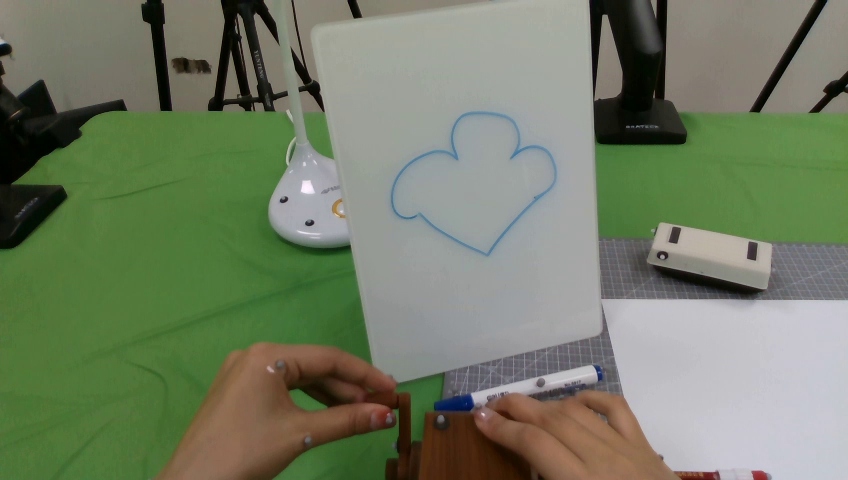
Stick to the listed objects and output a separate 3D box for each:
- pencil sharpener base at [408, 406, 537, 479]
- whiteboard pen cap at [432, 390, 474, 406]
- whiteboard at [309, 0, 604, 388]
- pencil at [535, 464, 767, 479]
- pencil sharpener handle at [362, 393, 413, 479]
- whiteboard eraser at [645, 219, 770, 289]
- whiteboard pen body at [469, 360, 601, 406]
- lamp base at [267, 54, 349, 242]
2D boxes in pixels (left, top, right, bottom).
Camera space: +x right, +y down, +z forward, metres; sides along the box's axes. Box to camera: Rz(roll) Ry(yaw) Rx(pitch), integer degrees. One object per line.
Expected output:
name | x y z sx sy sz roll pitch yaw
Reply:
pencil sharpener base | 0.031 0.164 0.399 0.076 0.108 0.061 -1 39 4
whiteboard pen cap | 0.024 0.135 0.500 0.033 0.018 0.018 -12 39 -9
whiteboard | 0.030 -0.054 0.561 0.217 0.307 0.142 -11 20 -8
pencil | 0.111 0.143 0.374 0.194 0.012 0.012 0 38 3
pencil sharpener handle | -0.022 0.127 0.381 0.030 0.068 0.036 0 14 5
whiteboard eraser | 0.288 0.015 0.617 0.112 0.042 0.055 14 43 21
whiteboard pen body | 0.082 0.123 0.508 0.141 0.017 0.017 -11 39 -8
lamp base | -0.124 -0.115 0.704 0.161 0.182 0.177 -31 43 -30
